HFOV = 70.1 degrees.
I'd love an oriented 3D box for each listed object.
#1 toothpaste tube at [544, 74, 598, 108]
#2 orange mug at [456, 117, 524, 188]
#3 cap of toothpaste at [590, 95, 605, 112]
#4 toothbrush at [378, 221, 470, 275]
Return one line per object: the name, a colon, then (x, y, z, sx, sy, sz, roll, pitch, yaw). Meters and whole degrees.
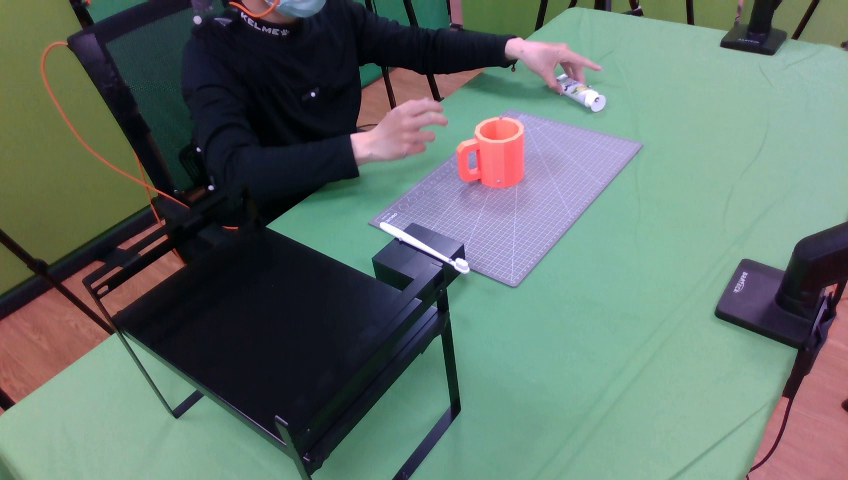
toothpaste tube: (0.324, -0.321, 1.296, 0.055, 0.035, 0.163, -21, 40, -15)
orange mug: (0.117, -0.152, 1.071, 0.127, 0.101, 0.083, -14, 41, -15)
cap of toothpaste: (0.353, -0.280, 1.237, 0.037, 0.037, 0.011, -21, 40, -16)
toothbrush: (-0.004, 0.007, 0.894, 0.180, 0.017, 0.014, 27, 55, 34)
